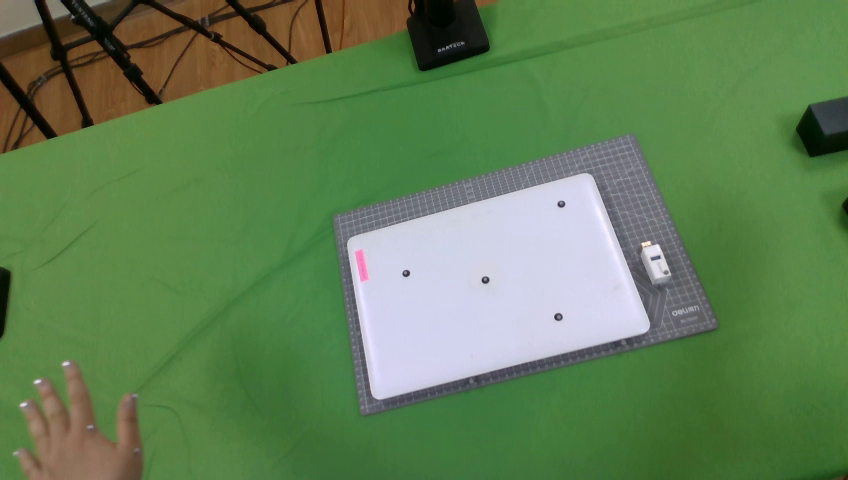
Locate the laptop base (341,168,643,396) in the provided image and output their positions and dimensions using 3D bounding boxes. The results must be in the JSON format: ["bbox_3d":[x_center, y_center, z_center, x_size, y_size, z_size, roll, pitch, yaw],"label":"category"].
[{"bbox_3d":[0.075,0.050,0.797,0.354,0.023,0.233,-16,66,4],"label":"laptop base"}]

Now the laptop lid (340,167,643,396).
[{"bbox_3d":[0.074,0.047,0.786,0.356,0.013,0.239,-14,65,5],"label":"laptop lid"}]

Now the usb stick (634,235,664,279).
[{"bbox_3d":[0.281,0.017,0.764,0.021,0.027,0.058,-17,60,8],"label":"usb stick"}]
